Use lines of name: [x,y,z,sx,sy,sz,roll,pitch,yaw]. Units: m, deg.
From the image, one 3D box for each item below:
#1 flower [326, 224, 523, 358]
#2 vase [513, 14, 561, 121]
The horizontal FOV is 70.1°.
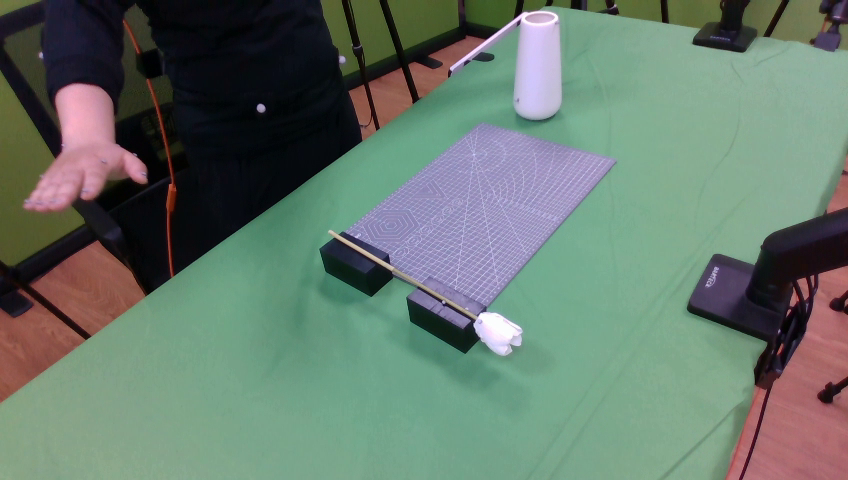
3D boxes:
flower: [-0.018,0.054,0.835,0.359,0.038,0.044,31,84,32]
vase: [0.225,-0.336,1.196,0.098,0.201,0.097,-5,42,5]
